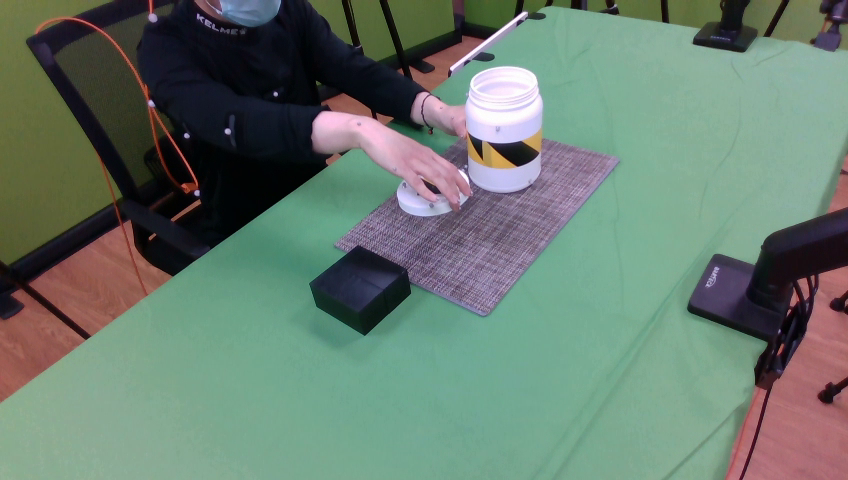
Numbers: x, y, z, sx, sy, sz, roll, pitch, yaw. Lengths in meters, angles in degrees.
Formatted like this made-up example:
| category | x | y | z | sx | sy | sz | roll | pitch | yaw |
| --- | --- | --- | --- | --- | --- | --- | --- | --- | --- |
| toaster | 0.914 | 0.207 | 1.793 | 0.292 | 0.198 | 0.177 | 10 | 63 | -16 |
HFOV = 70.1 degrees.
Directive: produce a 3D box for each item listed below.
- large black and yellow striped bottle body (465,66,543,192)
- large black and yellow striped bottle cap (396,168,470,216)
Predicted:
| category | x | y | z | sx | sy | sz | roll | pitch | yaw |
| --- | --- | --- | --- | --- | --- | --- | --- | --- | --- |
| large black and yellow striped bottle body | 0.137 | -0.190 | 1.040 | 0.131 | 0.185 | 0.130 | -4 | 41 | 4 |
| large black and yellow striped bottle cap | 0.014 | -0.076 | 0.938 | 0.115 | 0.019 | 0.114 | -7 | 37 | 5 |
